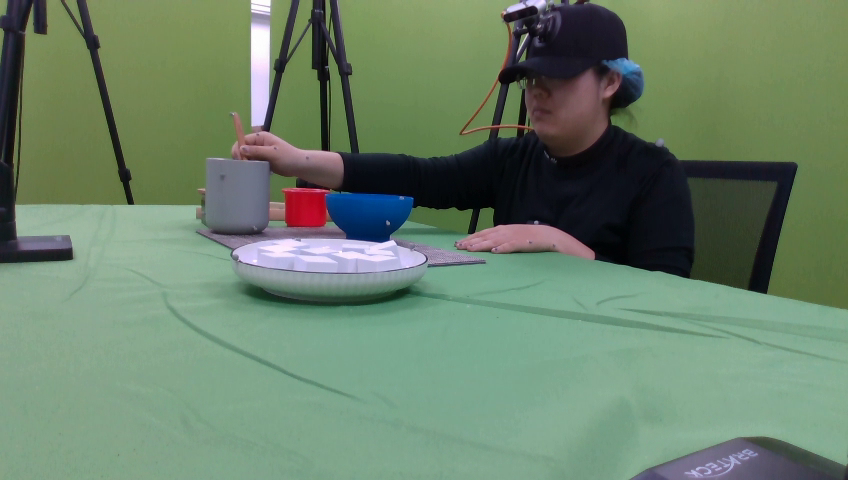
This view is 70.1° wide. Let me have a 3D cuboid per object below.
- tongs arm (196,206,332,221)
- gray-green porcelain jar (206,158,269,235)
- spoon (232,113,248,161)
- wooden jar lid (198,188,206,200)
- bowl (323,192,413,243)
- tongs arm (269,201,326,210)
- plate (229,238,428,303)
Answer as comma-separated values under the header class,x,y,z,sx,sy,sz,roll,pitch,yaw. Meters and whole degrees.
class,x,y,z,sx,sy,sz,roll,pitch,yaw
tongs arm,-0.294,-0.057,1.330,0.389,0.028,0.028,0,5,-20
gray-green porcelain jar,-0.323,-0.076,1.048,0.106,0.126,0.106,3,7,0
spoon,-0.310,-0.125,1.048,0.021,0.193,0.042,-3,3,43
wooden jar lid,-0.382,-0.088,1.175,0.108,0.020,0.108,3,8,0
bowl,-0.094,-0.037,1.015,0.151,0.077,0.151,3,7,0
tongs arm,-0.308,-0.073,1.410,0.385,0.026,0.050,3,8,-6
plate,-0.100,0.032,0.651,0.209,0.038,0.209,3,8,0
